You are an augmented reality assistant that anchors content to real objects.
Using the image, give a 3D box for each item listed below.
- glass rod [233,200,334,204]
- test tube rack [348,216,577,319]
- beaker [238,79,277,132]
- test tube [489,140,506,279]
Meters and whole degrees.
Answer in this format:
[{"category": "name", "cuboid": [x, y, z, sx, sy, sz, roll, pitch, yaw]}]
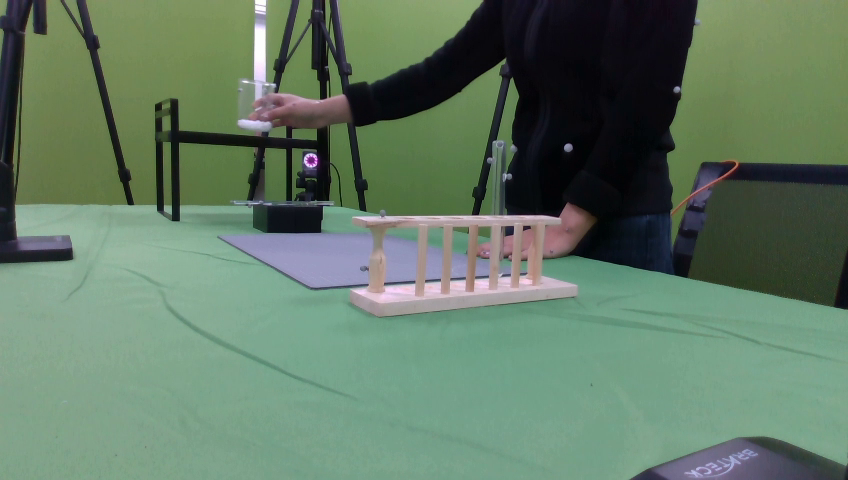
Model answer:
[{"category": "glass rod", "cuboid": [-0.261, -0.071, 1.146, 0.201, 0.008, 0.008, -2, 9, -34]}, {"category": "test tube rack", "cuboid": [0.048, 0.021, 0.619, 0.244, 0.085, 0.066, -2, 8, -31]}, {"category": "beaker", "cuboid": [-0.339, -0.274, 1.239, 0.084, 0.100, 0.074, 10, 10, 20]}, {"category": "test tube", "cuboid": [0.079, -0.032, 0.653, 0.017, 0.150, 0.017, 1, 2, 0]}]
